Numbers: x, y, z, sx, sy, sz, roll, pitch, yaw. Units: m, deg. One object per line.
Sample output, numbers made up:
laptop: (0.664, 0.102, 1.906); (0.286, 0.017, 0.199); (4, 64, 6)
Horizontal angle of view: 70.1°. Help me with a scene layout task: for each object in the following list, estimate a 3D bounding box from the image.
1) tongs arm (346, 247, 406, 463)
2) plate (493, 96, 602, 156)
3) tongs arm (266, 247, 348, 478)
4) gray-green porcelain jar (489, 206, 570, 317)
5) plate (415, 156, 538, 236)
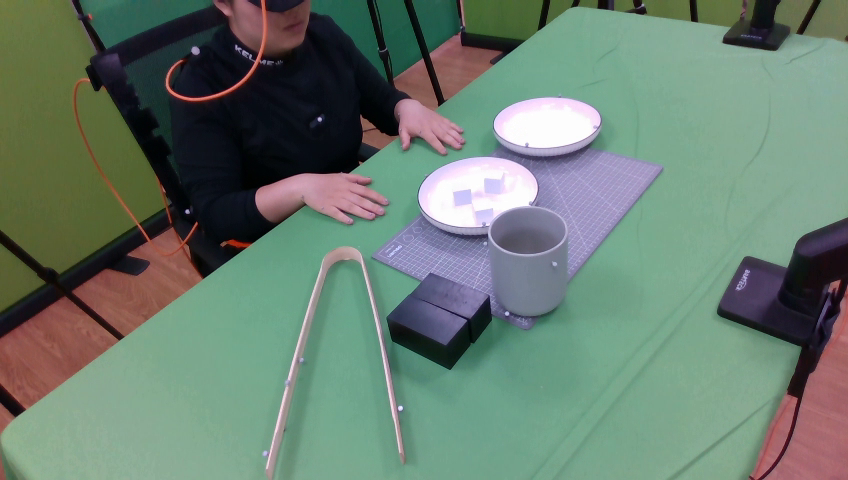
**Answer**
tongs arm: (-0.069, 0.133, 0.832); (0.028, 0.028, 0.384); (-16, 40, -4)
plate: (0.238, -0.218, 1.179); (0.209, 0.038, 0.208); (-4, 39, 4)
tongs arm: (-0.151, 0.143, 0.831); (0.051, 0.026, 0.383); (-5, 39, 5)
gray-green porcelain jar: (0.145, 0.034, 0.829); (0.106, 0.127, 0.105); (-5, 40, 5)
plate: (0.090, -0.072, 1.034); (0.207, 0.039, 0.206); (-5, 40, 5)
